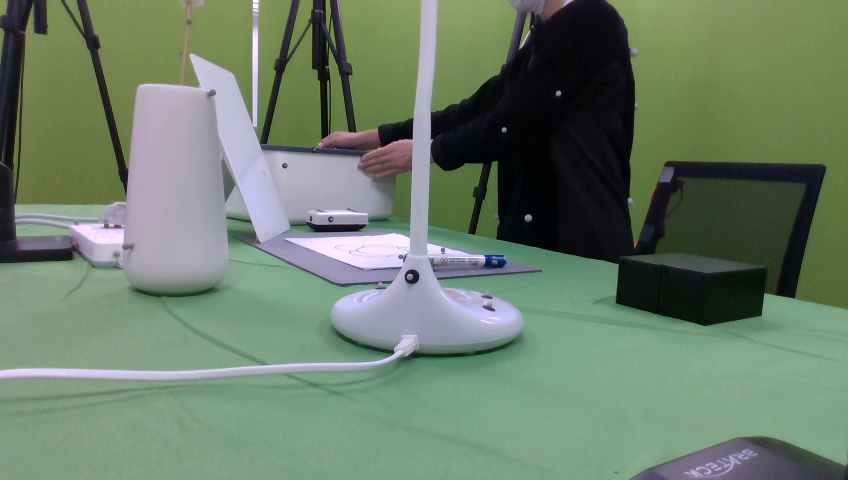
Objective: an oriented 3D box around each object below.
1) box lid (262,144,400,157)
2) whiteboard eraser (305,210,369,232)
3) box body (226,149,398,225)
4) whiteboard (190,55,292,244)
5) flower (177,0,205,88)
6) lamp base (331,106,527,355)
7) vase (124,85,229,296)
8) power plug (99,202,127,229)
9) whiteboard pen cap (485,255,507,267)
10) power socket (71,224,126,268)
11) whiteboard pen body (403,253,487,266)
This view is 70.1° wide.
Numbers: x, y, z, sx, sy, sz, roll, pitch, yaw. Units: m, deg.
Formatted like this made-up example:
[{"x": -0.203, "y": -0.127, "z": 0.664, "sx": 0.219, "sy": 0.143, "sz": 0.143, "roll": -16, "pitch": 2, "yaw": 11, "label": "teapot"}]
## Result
[{"x": -0.263, "y": -0.203, "z": 1.368, "sx": 0.262, "sy": 0.015, "sz": 0.373, "roll": 10, "pitch": 10, "yaw": 39, "label": "box lid"}, {"x": -0.168, "y": -0.038, "z": 1.172, "sx": 0.113, "sy": 0.042, "sz": 0.055, "roll": -3, "pitch": 7, "yaw": -35, "label": "whiteboard eraser"}, {"x": -0.264, "y": -0.129, "z": 1.380, "sx": 0.253, "sy": 0.160, "sz": 0.366, "roll": 8, "pitch": 9, "yaw": 39, "label": "box body"}, {"x": -0.363, "y": -0.129, "z": 1.028, "sx": 0.144, "sy": 0.305, "sz": 0.217, "roll": -18, "pitch": 7, "yaw": 3, "label": "whiteboard"}, {"x": -0.243, "y": -0.131, "z": 0.609, "sx": 0.044, "sy": 0.361, "sz": 0.038, "roll": -5, "pitch": -12, "yaw": 11, "label": "flower"}, {"x": 0.006, "y": -0.012, "z": 0.478, "sx": 0.161, "sy": 0.180, "sz": 0.179, "roll": 2, "pitch": 10, "yaw": 2, "label": "lamp base"}, {"x": -0.244, "y": -0.047, "z": 0.598, "sx": 0.098, "sy": 0.200, "sz": 0.098, "roll": 3, "pitch": 8, "yaw": 0, "label": "vase"}, {"x": -0.415, "y": -0.026, "z": 0.848, "sx": 0.073, "sy": 0.052, "sz": 0.035, "roll": 6, "pitch": 5, "yaw": -28, "label": "power plug"}, {"x": 0.093, "y": 0.028, "z": 0.809, "sx": 0.033, "sy": 0.018, "sz": 0.018, "roll": 2, "pitch": 7, "yaw": -24, "label": "whiteboard pen cap"}, {"x": -0.409, "y": 0.004, "z": 0.793, "sx": 0.072, "sy": 0.032, "sz": 0.225, "roll": -2, "pitch": 8, "yaw": -37, "label": "power socket"}, {"x": 0.040, "y": 0.026, "z": 0.785, "sx": 0.141, "sy": 0.017, "sz": 0.017, "roll": 2, "pitch": 7, "yaw": -24, "label": "whiteboard pen body"}]
